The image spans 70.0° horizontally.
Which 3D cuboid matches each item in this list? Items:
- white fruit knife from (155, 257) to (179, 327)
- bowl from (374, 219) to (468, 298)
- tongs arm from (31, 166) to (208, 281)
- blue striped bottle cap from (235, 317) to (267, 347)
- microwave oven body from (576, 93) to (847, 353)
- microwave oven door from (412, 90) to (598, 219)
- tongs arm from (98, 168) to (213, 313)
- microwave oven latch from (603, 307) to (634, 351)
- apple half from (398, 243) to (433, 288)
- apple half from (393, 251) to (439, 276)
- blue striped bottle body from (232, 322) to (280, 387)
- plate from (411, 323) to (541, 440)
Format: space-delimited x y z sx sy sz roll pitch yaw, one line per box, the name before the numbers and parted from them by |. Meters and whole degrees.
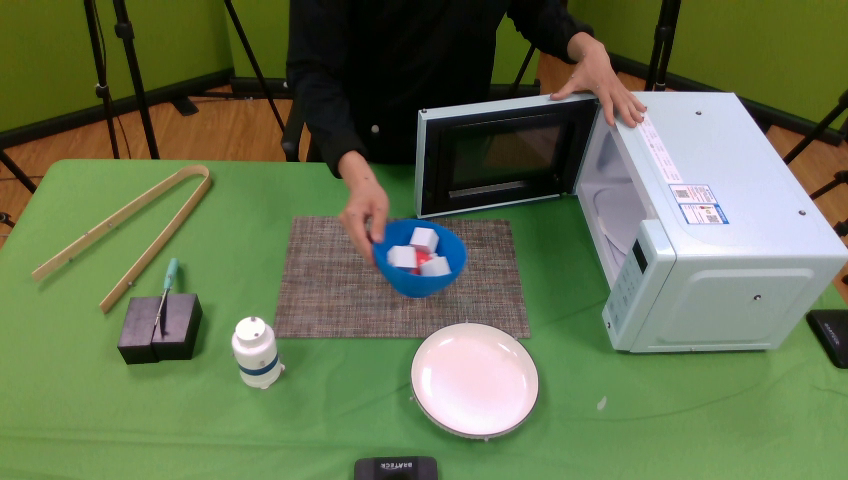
white fruit knife | -0.440 0.085 1.037 0.016 0.027 0.206 10 26 -19
bowl | -0.010 0.040 0.970 0.151 0.077 0.150 9 36 -6
tongs arm | -0.578 -0.040 1.185 0.050 0.026 0.384 23 47 17
blue striped bottle cap | -0.260 0.137 0.907 0.044 0.021 0.044 2 43 -2
microwave oven body | 0.475 -0.041 1.109 0.326 0.261 0.438 -1 45 -4
microwave oven door | 0.155 -0.168 1.201 0.356 0.245 0.039 -10 47 -14
tongs arm | -0.504 -0.012 1.167 0.028 0.028 0.385 11 45 11
microwave oven latch | 0.332 0.153 1.044 0.030 0.029 0.078 0 45 -3
apple half | -0.012 0.047 1.115 0.053 0.075 0.080 -11 44 -20
apple half | -0.012 0.037 0.969 0.081 0.033 0.081 11 33 -7
blue striped bottle body | -0.262 0.171 0.944 0.063 0.121 0.062 3 46 -2
plate | 0.082 0.228 0.976 0.208 0.039 0.206 2 45 -2
